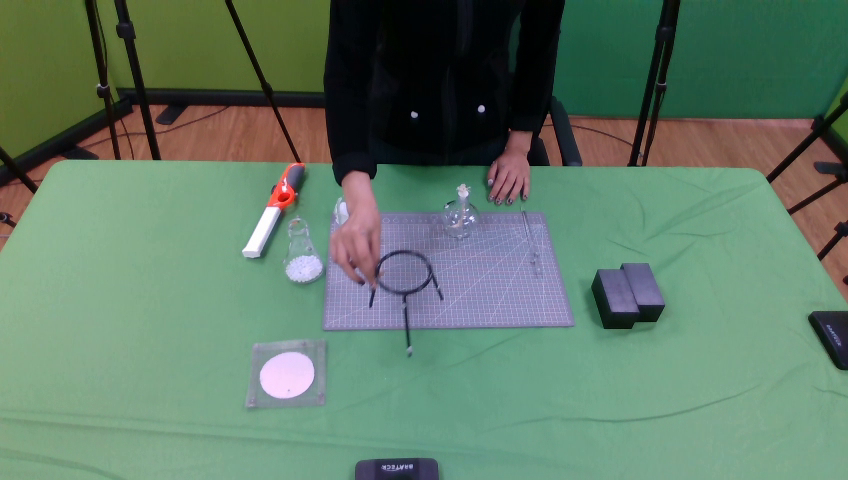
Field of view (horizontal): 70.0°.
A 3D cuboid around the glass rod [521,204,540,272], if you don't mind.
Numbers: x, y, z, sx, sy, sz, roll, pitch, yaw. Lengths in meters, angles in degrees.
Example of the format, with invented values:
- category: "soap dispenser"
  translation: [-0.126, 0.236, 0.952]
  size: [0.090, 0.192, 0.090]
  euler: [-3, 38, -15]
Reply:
- category: "glass rod"
  translation: [0.215, -0.008, 1.230]
  size: [0.008, 0.008, 0.198]
  euler: [0, 43, -3]

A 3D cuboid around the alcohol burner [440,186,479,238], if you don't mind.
- category: "alcohol burner"
  translation: [0.072, -0.061, 1.198]
  size: [0.078, 0.119, 0.077]
  euler: [3, 47, -3]

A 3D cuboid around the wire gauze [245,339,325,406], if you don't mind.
- category: "wire gauze"
  translation: [-0.224, 0.215, 0.984]
  size: [0.125, 0.011, 0.120]
  euler: [-3, 46, -4]

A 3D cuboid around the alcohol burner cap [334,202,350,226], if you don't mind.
- category: "alcohol burner cap"
  translation: [-0.166, -0.055, 1.223]
  size: [0.034, 0.048, 0.033]
  euler: [2, 46, -2]

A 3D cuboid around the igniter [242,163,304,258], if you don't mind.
- category: "igniter"
  translation: [-0.305, -0.069, 1.239]
  size: [0.057, 0.025, 0.275]
  euler: [2, 45, 12]

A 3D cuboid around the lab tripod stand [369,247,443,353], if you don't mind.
- category: "lab tripod stand"
  translation: [-0.027, 0.084, 0.973]
  size: [0.148, 0.132, 0.147]
  euler: [0, 45, 1]

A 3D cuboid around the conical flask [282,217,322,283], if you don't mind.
- category: "conical flask"
  translation: [-0.225, 0.016, 1.097]
  size: [0.075, 0.122, 0.075]
  euler: [2, 46, -2]

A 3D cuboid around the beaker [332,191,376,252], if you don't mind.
- category: "beaker"
  translation: [-0.133, -0.032, 1.163]
  size: [0.084, 0.101, 0.073]
  euler: [-18, 50, -20]
